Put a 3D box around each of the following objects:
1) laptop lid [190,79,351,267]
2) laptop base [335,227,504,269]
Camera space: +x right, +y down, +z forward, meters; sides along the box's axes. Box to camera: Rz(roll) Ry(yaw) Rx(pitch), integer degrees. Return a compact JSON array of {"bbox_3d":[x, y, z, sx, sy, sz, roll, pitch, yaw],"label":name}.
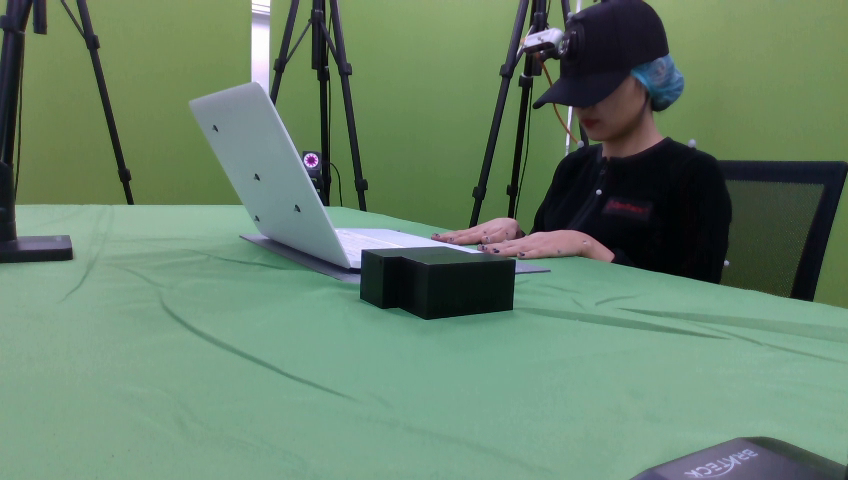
[{"bbox_3d":[-0.220,-0.087,0.809,0.013,0.242,0.355,-34,25,-24],"label":"laptop lid"},{"bbox_3d":[-0.077,0.009,0.914,0.237,0.023,0.352,1,7,-33],"label":"laptop base"}]
